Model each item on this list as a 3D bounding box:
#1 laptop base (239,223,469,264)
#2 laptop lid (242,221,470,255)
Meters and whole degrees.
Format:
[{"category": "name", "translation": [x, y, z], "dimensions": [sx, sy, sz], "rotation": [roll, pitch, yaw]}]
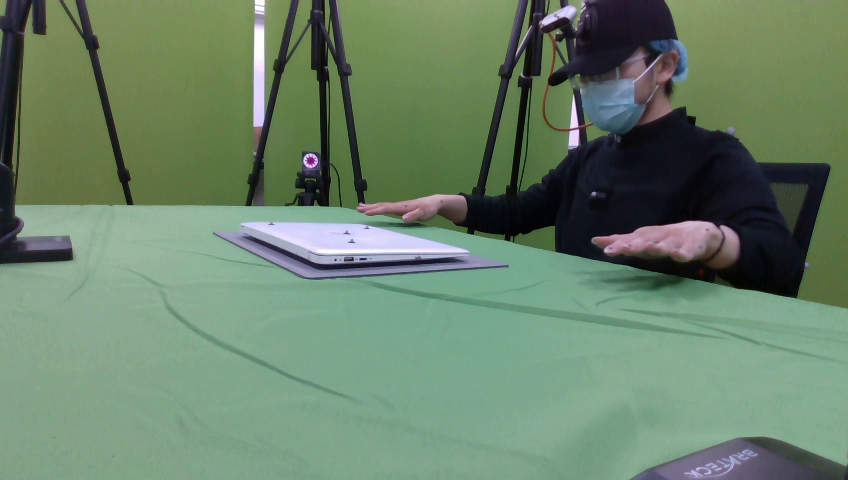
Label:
[{"category": "laptop base", "translation": [-0.123, 0.005, 0.936], "dimensions": [0.237, 0.023, 0.352], "rotation": [2, 6, -33]}, {"category": "laptop lid", "translation": [-0.121, -0.007, 0.936], "dimensions": [0.243, 0.013, 0.355], "rotation": [1, 7, -31]}]
